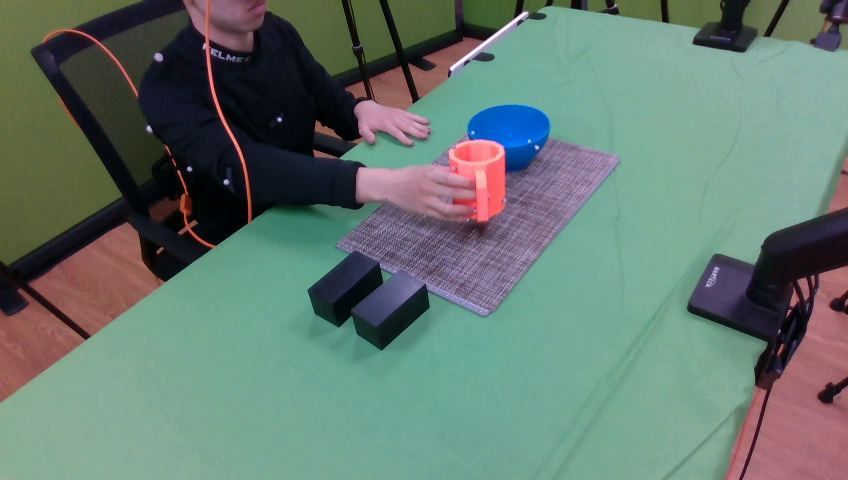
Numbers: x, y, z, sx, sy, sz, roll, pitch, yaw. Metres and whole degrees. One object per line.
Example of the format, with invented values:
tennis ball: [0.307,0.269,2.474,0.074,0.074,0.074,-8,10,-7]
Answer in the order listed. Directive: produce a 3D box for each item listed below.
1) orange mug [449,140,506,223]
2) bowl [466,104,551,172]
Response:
orange mug: [0.084,-0.086,0.924,0.083,0.101,0.125,-5,29,1]
bowl: [0.155,-0.177,1.105,0.151,0.077,0.150,-4,40,4]
